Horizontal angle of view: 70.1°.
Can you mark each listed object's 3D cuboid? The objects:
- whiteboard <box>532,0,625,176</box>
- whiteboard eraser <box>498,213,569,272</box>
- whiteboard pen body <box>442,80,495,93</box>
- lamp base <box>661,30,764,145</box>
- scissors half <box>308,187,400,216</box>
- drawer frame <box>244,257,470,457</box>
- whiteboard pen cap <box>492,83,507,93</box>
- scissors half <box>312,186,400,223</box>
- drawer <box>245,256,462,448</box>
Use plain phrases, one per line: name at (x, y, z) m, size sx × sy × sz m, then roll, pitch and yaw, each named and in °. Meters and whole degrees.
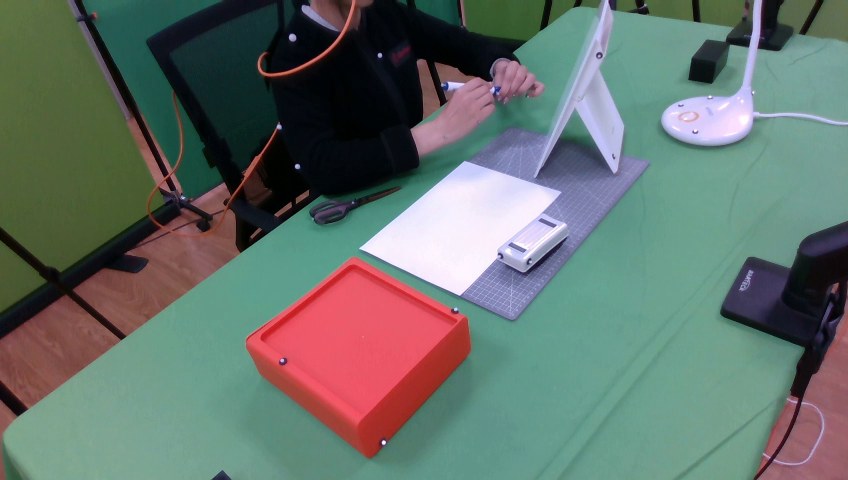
whiteboard at (0.320, -0.259, 1.050) m, size 0.144 × 0.306 × 0.217 m, roll 21°, pitch 45°, yaw 5°
whiteboard eraser at (0.168, 0.006, 0.924) m, size 0.113 × 0.042 × 0.055 m, roll -36°, pitch 49°, yaw -28°
whiteboard pen body at (0.095, -0.291, 1.151) m, size 0.142 × 0.017 × 0.017 m, roll -5°, pitch 34°, yaw -32°
lamp base at (0.535, -0.287, 1.096) m, size 0.179 × 0.181 × 0.159 m, roll -10°, pitch 40°, yaw -4°
scissors half at (-0.126, -0.075, 1.104) m, size 0.176 × 0.013 × 0.039 m, roll -15°, pitch 29°, yaw -10°
drawer frame at (-0.084, 0.138, 0.788) m, size 0.212 × 0.083 × 0.202 m, roll 25°, pitch 50°, yaw 33°
whiteboard pen cap at (0.145, -0.296, 1.180) m, size 0.033 × 0.018 × 0.018 m, roll -16°, pitch 40°, yaw -25°
scissors half at (-0.118, -0.066, 1.088) m, size 0.176 × 0.013 × 0.040 m, roll -25°, pitch 38°, yaw -24°
drawer at (-0.089, 0.136, 0.792) m, size 0.210 × 0.073 × 0.195 m, roll 26°, pitch 51°, yaw 34°
